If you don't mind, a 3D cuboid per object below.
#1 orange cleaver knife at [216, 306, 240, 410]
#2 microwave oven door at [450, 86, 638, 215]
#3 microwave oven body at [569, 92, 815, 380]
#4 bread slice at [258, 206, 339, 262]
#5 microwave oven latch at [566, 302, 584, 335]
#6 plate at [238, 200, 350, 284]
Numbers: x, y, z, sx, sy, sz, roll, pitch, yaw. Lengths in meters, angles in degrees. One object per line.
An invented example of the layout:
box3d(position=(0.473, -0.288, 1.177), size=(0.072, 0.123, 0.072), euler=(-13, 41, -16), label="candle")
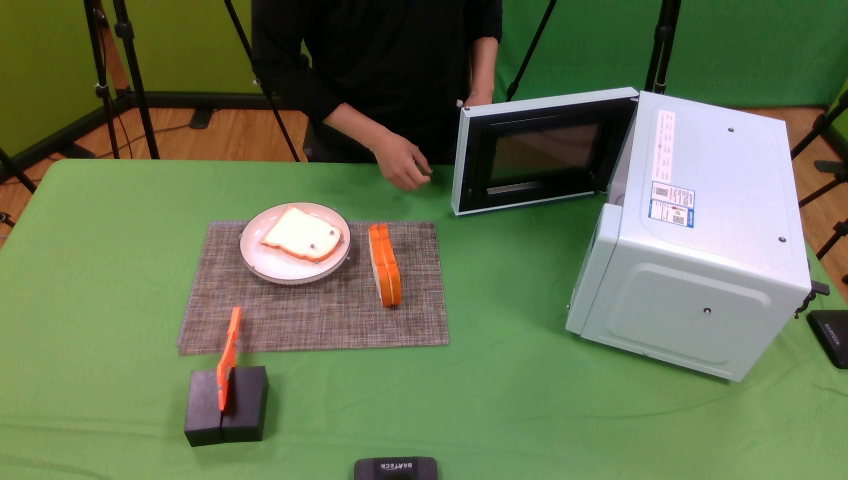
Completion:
box3d(position=(-0.307, 0.180, 0.957), size=(0.012, 0.077, 0.210), euler=(-2, 25, -8), label="orange cleaver knife")
box3d(position=(0.234, -0.177, 1.207), size=(0.356, 0.245, 0.039), euler=(-10, 48, -13), label="microwave oven door")
box3d(position=(0.468, -0.022, 1.082), size=(0.325, 0.261, 0.440), euler=(15, 46, 11), label="microwave oven body")
box3d(position=(-0.232, -0.008, 1.168), size=(0.134, 0.018, 0.106), euler=(19, 51, 11), label="bread slice")
box3d(position=(0.268, 0.126, 1.059), size=(0.030, 0.029, 0.079), euler=(16, 46, 12), label="microwave oven latch")
box3d(position=(-0.245, 0.007, 1.156), size=(0.208, 0.039, 0.206), euler=(2, 46, -2), label="plate")
